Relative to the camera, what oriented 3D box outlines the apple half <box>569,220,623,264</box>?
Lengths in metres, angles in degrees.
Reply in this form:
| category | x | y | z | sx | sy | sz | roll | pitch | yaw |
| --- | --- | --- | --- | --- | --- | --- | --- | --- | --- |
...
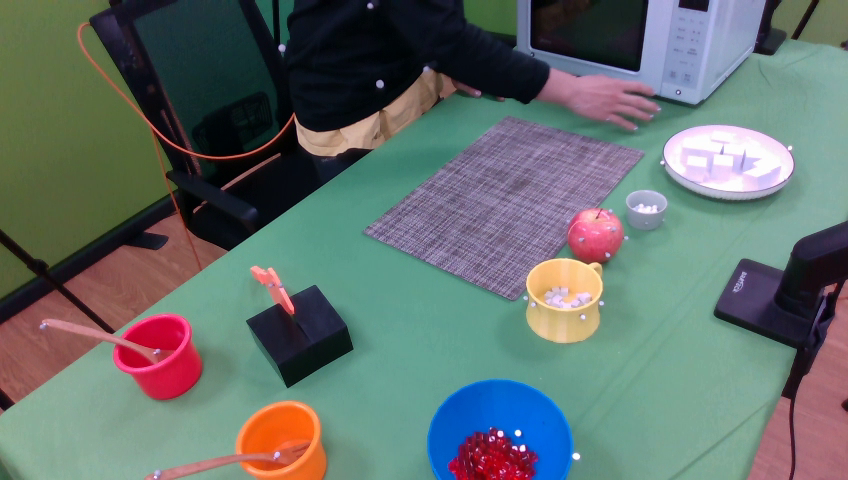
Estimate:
| category | x | y | z | sx | sy | sz | roll | pitch | yaw |
| --- | --- | --- | --- | --- | --- | --- | --- | --- | --- |
| apple half | 0.251 | 0.010 | 0.884 | 0.081 | 0.081 | 0.032 | 3 | 37 | 12 |

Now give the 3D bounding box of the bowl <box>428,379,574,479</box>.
| category | x | y | z | sx | sy | sz | roll | pitch | yaw |
| --- | --- | --- | --- | --- | --- | --- | --- | --- | --- |
| bowl | 0.082 | 0.233 | 0.644 | 0.151 | 0.077 | 0.150 | -4 | 40 | 4 |

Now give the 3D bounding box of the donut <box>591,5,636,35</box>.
| category | x | y | z | sx | sy | sz | roll | pitch | yaw |
| --- | --- | --- | --- | --- | --- | --- | --- | --- | --- |
| donut | 0.427 | -0.497 | 1.364 | 0.099 | 0.048 | 0.098 | -5 | 38 | 4 |

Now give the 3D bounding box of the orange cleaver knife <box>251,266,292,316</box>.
| category | x | y | z | sx | sy | sz | roll | pitch | yaw |
| --- | --- | --- | --- | --- | --- | --- | --- | --- | --- |
| orange cleaver knife | -0.221 | 0.071 | 0.873 | 0.012 | 0.077 | 0.210 | -25 | 11 | -21 |

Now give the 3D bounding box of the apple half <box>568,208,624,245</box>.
| category | x | y | z | sx | sy | sz | roll | pitch | yaw |
| --- | --- | --- | --- | --- | --- | --- | --- | --- | --- |
| apple half | 0.259 | -0.014 | 0.914 | 0.080 | 0.075 | 0.053 | 0 | 36 | 15 |

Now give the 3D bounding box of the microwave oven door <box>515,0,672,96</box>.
| category | x | y | z | sx | sy | sz | roll | pitch | yaw |
| --- | --- | --- | --- | --- | --- | --- | --- | --- | --- |
| microwave oven door | 0.344 | -0.455 | 1.259 | 0.353 | 0.245 | 0.039 | 26 | 51 | 33 |

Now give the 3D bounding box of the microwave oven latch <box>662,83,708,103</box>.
| category | x | y | z | sx | sy | sz | roll | pitch | yaw |
| --- | --- | --- | --- | --- | --- | --- | --- | --- | --- |
| microwave oven latch | 0.518 | -0.296 | 1.204 | 0.078 | 0.029 | 0.030 | 27 | 52 | 35 |

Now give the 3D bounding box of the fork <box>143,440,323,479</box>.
| category | x | y | z | sx | sy | sz | roll | pitch | yaw |
| --- | --- | --- | --- | --- | --- | --- | --- | --- | --- |
| fork | -0.190 | 0.231 | 0.631 | 0.028 | 0.018 | 0.209 | 38 | 14 | 37 |

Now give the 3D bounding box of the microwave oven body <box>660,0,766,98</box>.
| category | x | y | z | sx | sy | sz | roll | pitch | yaw |
| --- | --- | --- | --- | --- | --- | --- | --- | --- | --- |
| microwave oven body | 0.472 | -0.513 | 1.317 | 0.438 | 0.261 | 0.327 | 26 | 51 | 34 |

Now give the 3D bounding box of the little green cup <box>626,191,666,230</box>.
| category | x | y | z | sx | sy | sz | roll | pitch | yaw |
| --- | --- | --- | --- | --- | --- | --- | --- | --- | --- |
| little green cup | 0.352 | -0.046 | 0.963 | 0.061 | 0.039 | 0.061 | -4 | 40 | 4 |

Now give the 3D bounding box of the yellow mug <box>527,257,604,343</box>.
| category | x | y | z | sx | sy | sz | roll | pitch | yaw |
| --- | --- | --- | --- | --- | --- | --- | --- | --- | --- |
| yellow mug | 0.201 | 0.072 | 0.825 | 0.131 | 0.064 | 0.099 | -32 | 46 | -27 |

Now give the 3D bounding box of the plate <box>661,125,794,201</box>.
| category | x | y | z | sx | sy | sz | roll | pitch | yaw |
| --- | --- | --- | --- | --- | --- | --- | --- | --- | --- |
| plate | 0.513 | -0.128 | 1.035 | 0.207 | 0.039 | 0.206 | -4 | 40 | 4 |

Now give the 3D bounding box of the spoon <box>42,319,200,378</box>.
| category | x | y | z | sx | sy | sz | roll | pitch | yaw |
| --- | --- | --- | --- | --- | --- | --- | --- | --- | --- |
| spoon | -0.385 | 0.135 | 0.779 | 0.195 | 0.021 | 0.041 | 29 | 37 | -27 |

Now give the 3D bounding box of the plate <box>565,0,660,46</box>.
| category | x | y | z | sx | sy | sz | roll | pitch | yaw |
| --- | --- | --- | --- | --- | --- | --- | --- | --- | --- |
| plate | 0.427 | -0.490 | 1.377 | 0.209 | 0.038 | 0.208 | -5 | 40 | 4 |
